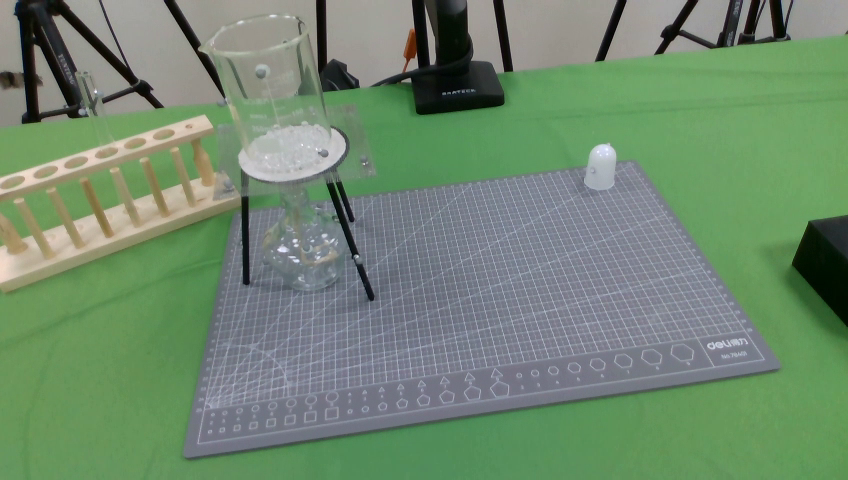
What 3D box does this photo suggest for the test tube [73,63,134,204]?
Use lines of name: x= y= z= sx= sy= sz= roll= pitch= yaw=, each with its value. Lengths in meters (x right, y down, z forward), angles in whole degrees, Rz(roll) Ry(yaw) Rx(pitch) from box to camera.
test tube: x=-0.321 y=-0.102 z=0.611 sx=0.017 sy=0.151 sz=0.017 roll=-1 pitch=35 yaw=1

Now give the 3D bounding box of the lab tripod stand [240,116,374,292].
lab tripod stand: x=-0.105 y=-0.029 z=0.539 sx=0.148 sy=0.133 sz=0.147 roll=-3 pitch=43 yaw=3

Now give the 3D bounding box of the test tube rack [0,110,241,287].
test tube rack: x=-0.325 y=-0.048 z=0.625 sx=0.243 sy=0.086 sz=0.066 roll=-24 pitch=44 yaw=-20

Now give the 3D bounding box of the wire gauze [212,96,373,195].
wire gauze: x=-0.110 y=-0.078 z=0.496 sx=0.125 sy=0.011 sz=0.120 roll=-13 pitch=39 yaw=-5

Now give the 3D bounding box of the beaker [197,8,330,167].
beaker: x=-0.117 y=-0.113 z=0.461 sx=0.084 sy=0.101 sz=0.073 roll=-6 pitch=40 yaw=1

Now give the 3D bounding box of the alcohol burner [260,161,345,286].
alcohol burner: x=-0.111 y=-0.017 z=0.541 sx=0.078 sy=0.120 sz=0.077 roll=-3 pitch=39 yaw=3

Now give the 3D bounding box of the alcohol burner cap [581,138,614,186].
alcohol burner cap: x=0.185 y=-0.085 z=0.643 sx=0.034 sy=0.048 sz=0.033 roll=-3 pitch=41 yaw=3
